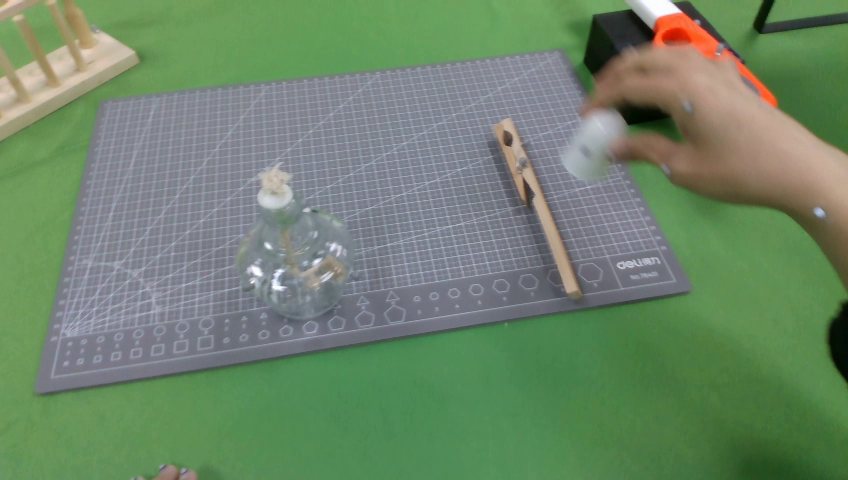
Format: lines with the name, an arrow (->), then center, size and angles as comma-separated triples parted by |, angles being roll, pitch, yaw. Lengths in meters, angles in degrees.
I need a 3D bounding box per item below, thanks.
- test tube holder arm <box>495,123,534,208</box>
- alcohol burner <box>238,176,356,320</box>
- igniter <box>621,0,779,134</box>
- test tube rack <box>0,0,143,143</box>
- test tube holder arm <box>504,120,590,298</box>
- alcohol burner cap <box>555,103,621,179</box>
test tube holder arm -> 0.078, -0.063, 0.504 | 0.010, 0.015, 0.087 | -32, 51, 22
alcohol burner -> -0.085, 0.000, 0.392 | 0.078, 0.120, 0.077 | 0, 54, 1
igniter -> 0.221, -0.184, 0.535 | 0.057, 0.025, 0.273 | -14, 51, -7
test tube rack -> -0.382, -0.145, 0.528 | 0.066, 0.086, 0.242 | 33, 59, 23
test tube holder arm -> 0.092, -0.031, 0.476 | 0.013, 0.015, 0.176 | -33, 51, 21
alcohol burner cap -> 0.107, -0.066, 0.388 | 0.034, 0.048, 0.033 | 7, 52, -8
